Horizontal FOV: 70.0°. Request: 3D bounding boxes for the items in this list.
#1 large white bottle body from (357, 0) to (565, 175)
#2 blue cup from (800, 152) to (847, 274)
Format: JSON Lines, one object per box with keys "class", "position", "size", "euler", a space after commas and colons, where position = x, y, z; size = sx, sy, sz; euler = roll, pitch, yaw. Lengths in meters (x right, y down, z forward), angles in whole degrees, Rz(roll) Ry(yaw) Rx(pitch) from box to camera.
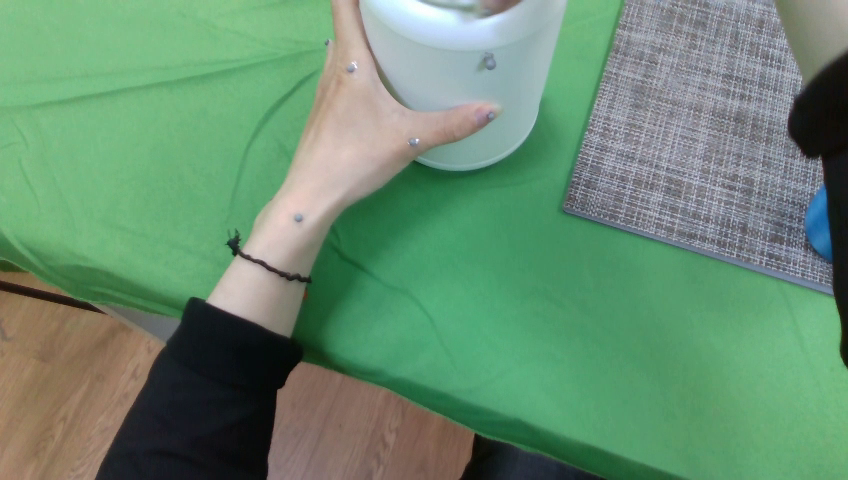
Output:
{"class": "large white bottle body", "position": [0.023, -0.143, 0.404], "size": [0.130, 0.186, 0.129], "euler": [0, 65, 0]}
{"class": "blue cup", "position": [0.301, -0.023, 0.393], "size": [0.092, 0.101, 0.092], "euler": [0, 65, 1]}
